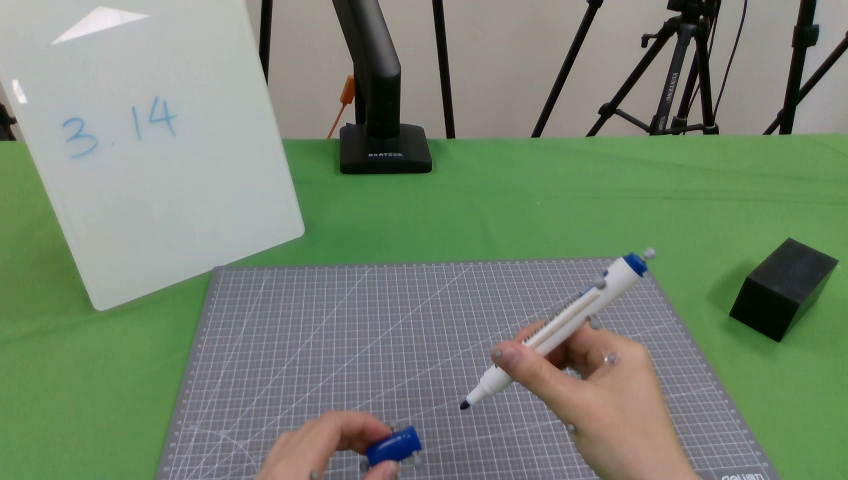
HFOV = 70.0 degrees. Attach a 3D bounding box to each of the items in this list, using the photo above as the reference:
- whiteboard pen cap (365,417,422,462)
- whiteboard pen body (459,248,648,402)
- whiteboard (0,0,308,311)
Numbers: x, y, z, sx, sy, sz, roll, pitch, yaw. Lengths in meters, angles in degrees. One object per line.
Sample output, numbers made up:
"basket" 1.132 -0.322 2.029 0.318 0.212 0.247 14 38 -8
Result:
"whiteboard pen cap" -0.018 0.121 0.367 0.033 0.018 0.018 -21 41 -6
"whiteboard pen body" 0.071 0.054 0.352 0.017 0.141 0.017 40 20 -17
"whiteboard" -0.276 -0.126 0.603 0.217 0.307 0.142 -24 25 -31
